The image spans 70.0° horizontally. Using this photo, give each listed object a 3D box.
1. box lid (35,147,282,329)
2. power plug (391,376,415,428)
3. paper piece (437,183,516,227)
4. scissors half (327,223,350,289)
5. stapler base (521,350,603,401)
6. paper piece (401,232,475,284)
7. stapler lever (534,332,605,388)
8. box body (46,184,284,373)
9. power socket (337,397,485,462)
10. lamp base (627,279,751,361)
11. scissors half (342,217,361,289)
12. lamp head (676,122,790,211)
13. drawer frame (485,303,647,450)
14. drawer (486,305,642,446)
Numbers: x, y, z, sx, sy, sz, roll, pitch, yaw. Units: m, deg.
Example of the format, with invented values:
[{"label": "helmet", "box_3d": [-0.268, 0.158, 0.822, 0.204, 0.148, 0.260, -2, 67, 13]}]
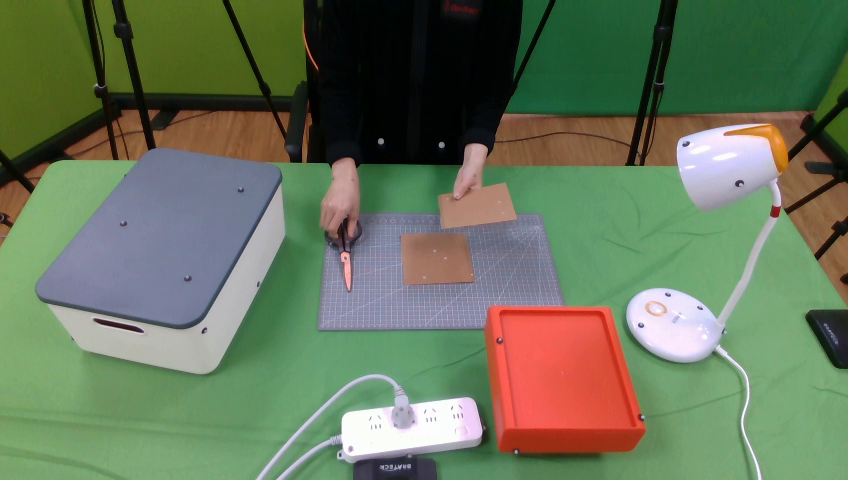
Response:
[{"label": "box lid", "box_3d": [-0.411, -0.023, 0.987, 0.263, 0.015, 0.369, 10, 47, 5]}, {"label": "power plug", "box_3d": [-0.030, 0.249, 0.917, 0.035, 0.053, 0.072, 3, 46, 0]}, {"label": "paper piece", "box_3d": [0.094, -0.065, 1.124, 0.136, 0.009, 0.137, -6, 32, 2]}, {"label": "scissors half", "box_3d": [-0.159, 0.030, 1.158, 0.040, 0.013, 0.174, -28, 45, 7]}, {"label": "stapler base", "box_3d": [0.217, 0.203, 0.942, 0.130, 0.024, 0.041, 26, 34, 16]}, {"label": "paper piece", "box_3d": [0.025, 0.032, 1.175, 0.135, 0.004, 0.135, -1, 46, -5]}, {"label": "stapler lever", "box_3d": [0.225, 0.182, 0.929, 0.118, 0.040, 0.027, 26, 34, 15]}, {"label": "box body", "box_3d": [-0.414, 0.029, 1.040, 0.254, 0.161, 0.362, 10, 46, 5]}, {"label": "power socket", "box_3d": [-0.018, 0.285, 0.915, 0.227, 0.033, 0.071, -4, 46, -8]}, {"label": "lamp base", "box_3d": [0.460, 0.100, 1.027, 0.178, 0.181, 0.160, 27, 51, 17]}, {"label": "scissors half", "box_3d": [-0.141, 0.022, 1.154, 0.040, 0.013, 0.174, -19, 48, 22]}, {"label": "lamp head", "box_3d": [0.423, -0.104, 0.819, 0.122, 0.113, 0.112, -13, 33, 40]}, {"label": "drawer frame", "box_3d": [0.204, 0.202, 0.917, 0.202, 0.083, 0.212, 1, 47, -4]}, {"label": "drawer", "box_3d": [0.202, 0.200, 0.919, 0.195, 0.073, 0.210, 2, 47, -4]}]
